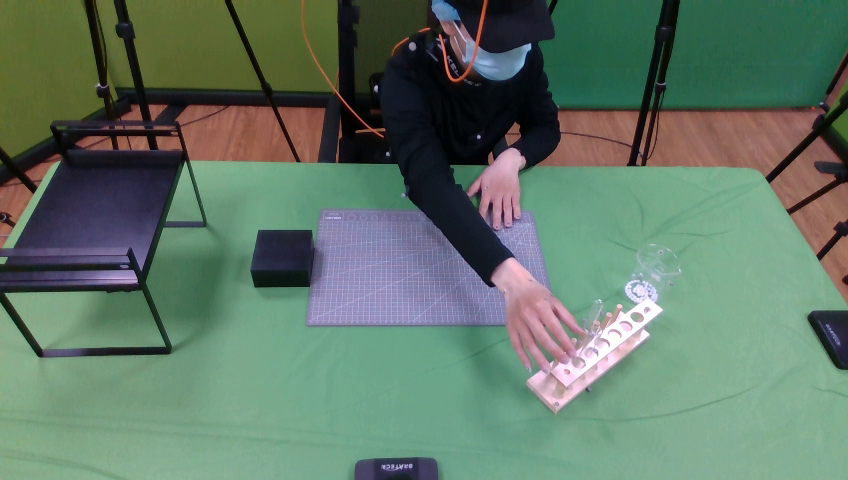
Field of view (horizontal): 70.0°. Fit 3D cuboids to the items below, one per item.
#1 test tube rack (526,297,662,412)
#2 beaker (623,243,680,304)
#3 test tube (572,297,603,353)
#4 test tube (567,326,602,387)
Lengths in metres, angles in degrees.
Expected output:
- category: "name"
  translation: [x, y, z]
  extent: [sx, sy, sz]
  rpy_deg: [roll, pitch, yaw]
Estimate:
- category: "test tube rack"
  translation: [0.284, 0.176, 1.007]
  extent: [0.242, 0.085, 0.066]
  rpy_deg: [-29, 54, -27]
- category: "beaker"
  translation: [0.414, 0.067, 1.111]
  extent: [0.083, 0.101, 0.074]
  rpy_deg: [31, 52, 22]
- category: "test tube"
  translation: [0.263, 0.141, 0.977]
  extent: [0.017, 0.151, 0.017]
  rpy_deg: [2, 47, -2]
- category: "test tube"
  translation: [0.243, 0.182, 0.930]
  extent: [0.017, 0.151, 0.017]
  rpy_deg: [5, 44, -5]
